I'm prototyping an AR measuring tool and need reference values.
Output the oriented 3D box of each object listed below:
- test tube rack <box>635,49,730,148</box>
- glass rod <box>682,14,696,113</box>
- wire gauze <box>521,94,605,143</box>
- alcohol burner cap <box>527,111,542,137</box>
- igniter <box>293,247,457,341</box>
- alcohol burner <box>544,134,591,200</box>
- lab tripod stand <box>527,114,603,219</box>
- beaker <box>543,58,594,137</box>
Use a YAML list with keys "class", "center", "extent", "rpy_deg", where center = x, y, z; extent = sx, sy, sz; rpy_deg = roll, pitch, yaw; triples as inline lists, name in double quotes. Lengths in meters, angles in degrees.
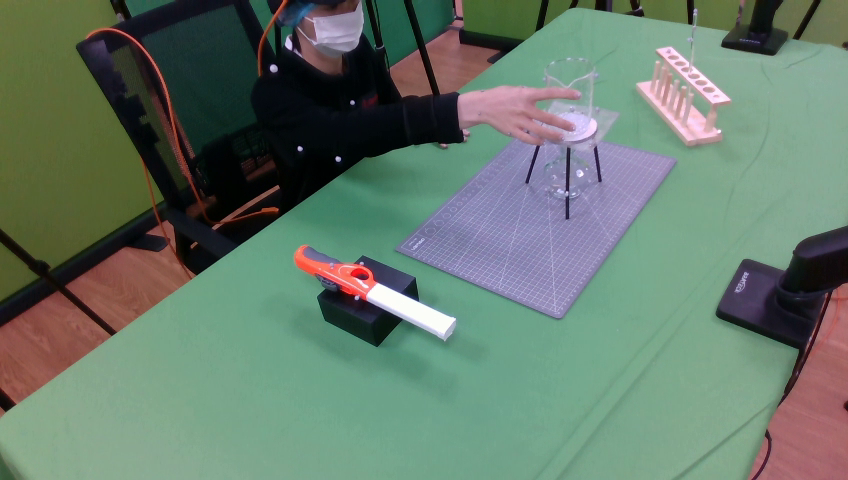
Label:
- class: "test tube rack"
  center: [0.497, -0.283, 1.185]
  extent: [0.067, 0.085, 0.240]
  rpy_deg: [-10, 40, -2]
- class: "glass rod"
  center: [0.495, -0.326, 1.132]
  extent: [0.008, 0.201, 0.008]
  rpy_deg: [-8, 42, 8]
- class: "wire gauze"
  center: [0.220, -0.190, 0.949]
  extent: [0.121, 0.011, 0.125]
  rpy_deg: [7, 46, 14]
- class: "alcohol burner cap"
  center: [0.221, -0.233, 1.200]
  extent: [0.034, 0.048, 0.033]
  rpy_deg: [-6, 41, 6]
- class: "igniter"
  center: [-0.077, 0.068, 0.830]
  extent: [0.274, 0.025, 0.057]
  rpy_deg: [22, 48, 27]
- class: "alcohol burner"
  center: [0.241, -0.127, 1.014]
  extent: [0.078, 0.119, 0.077]
  rpy_deg: [-5, 42, 5]
- class: "lab tripod stand"
  center: [0.234, -0.129, 1.002]
  extent: [0.148, 0.132, 0.147]
  rpy_deg: [-6, 40, 6]
- class: "beaker"
  center: [0.221, -0.214, 0.927]
  extent: [0.074, 0.101, 0.084]
  rpy_deg: [3, 42, 16]
